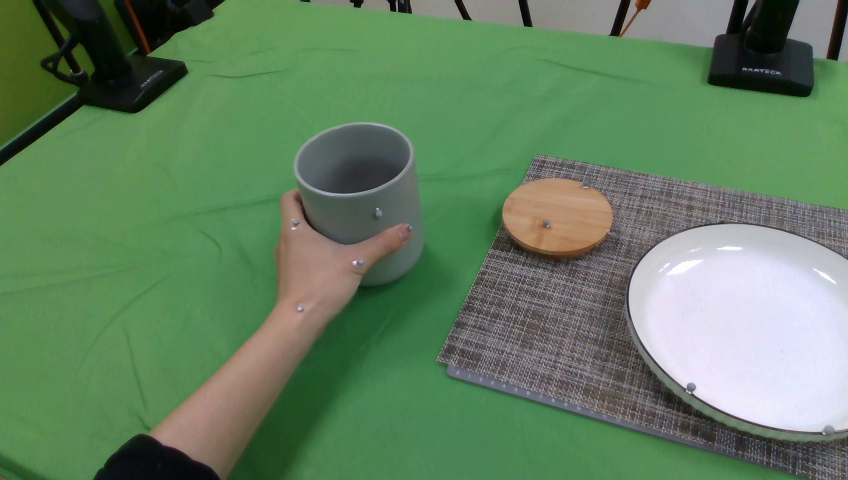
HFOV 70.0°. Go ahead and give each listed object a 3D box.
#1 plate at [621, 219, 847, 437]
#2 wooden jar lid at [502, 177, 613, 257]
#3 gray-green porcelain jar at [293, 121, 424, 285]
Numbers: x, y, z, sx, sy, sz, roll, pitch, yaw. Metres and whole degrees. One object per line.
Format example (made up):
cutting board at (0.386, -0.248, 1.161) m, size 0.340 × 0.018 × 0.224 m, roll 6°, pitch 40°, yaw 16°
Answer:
plate at (0.265, 0.067, 0.491) m, size 0.207 × 0.039 × 0.205 m, roll -3°, pitch 46°, yaw 4°
wooden jar lid at (0.132, -0.022, 0.607) m, size 0.108 × 0.021 × 0.107 m, roll -2°, pitch 45°, yaw 3°
gray-green porcelain jar at (-0.055, -0.028, 0.564) m, size 0.106 × 0.128 × 0.105 m, roll -3°, pitch 46°, yaw 3°
